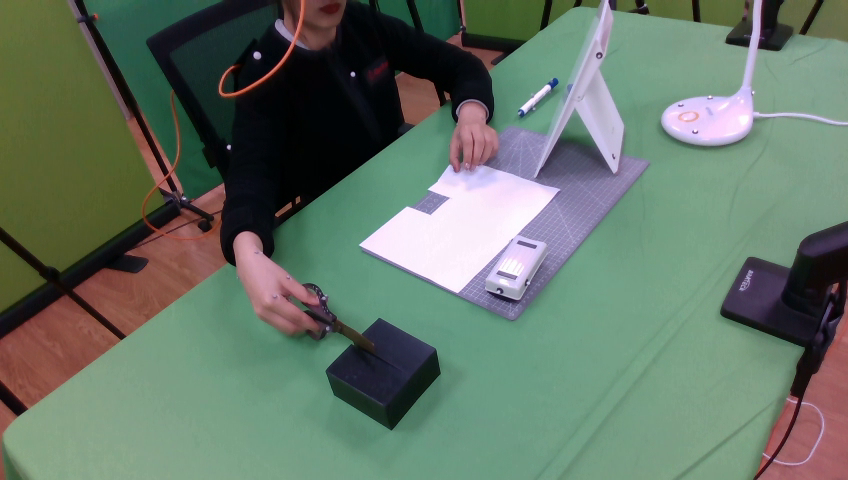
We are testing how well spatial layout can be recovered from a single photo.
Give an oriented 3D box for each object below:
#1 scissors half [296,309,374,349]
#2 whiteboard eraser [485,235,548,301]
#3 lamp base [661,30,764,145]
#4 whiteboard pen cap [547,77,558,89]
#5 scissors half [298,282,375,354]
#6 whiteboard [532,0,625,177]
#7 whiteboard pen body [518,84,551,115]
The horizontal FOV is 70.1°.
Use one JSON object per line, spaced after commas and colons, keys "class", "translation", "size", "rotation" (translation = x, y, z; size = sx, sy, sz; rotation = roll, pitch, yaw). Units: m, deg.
{"class": "scissors half", "translation": [-0.120, 0.124, 0.809], "size": [0.013, 0.040, 0.173], "rotation": [-16, 15, -41]}
{"class": "whiteboard eraser", "translation": [0.137, 0.042, 0.887], "size": [0.055, 0.042, 0.113], "rotation": [15, 46, 27]}
{"class": "lamp base", "translation": [0.535, -0.287, 1.096], "size": [0.179, 0.181, 0.159], "rotation": [-10, 40, -4]}
{"class": "whiteboard pen cap", "translation": [0.279, -0.341, 1.321], "size": [0.018, 0.018, 0.033], "rotation": [22, 52, 31]}
{"class": "scissors half", "translation": [-0.118, 0.103, 0.803], "size": [0.013, 0.040, 0.173], "rotation": [-9, 34, -43]}
{"class": "whiteboard", "translation": [0.320, -0.258, 1.050], "size": [0.144, 0.306, 0.217], "rotation": [21, 45, 5]}
{"class": "whiteboard pen body", "translation": [0.242, -0.306, 1.290], "size": [0.017, 0.017, 0.141], "rotation": [24, 52, 33]}
